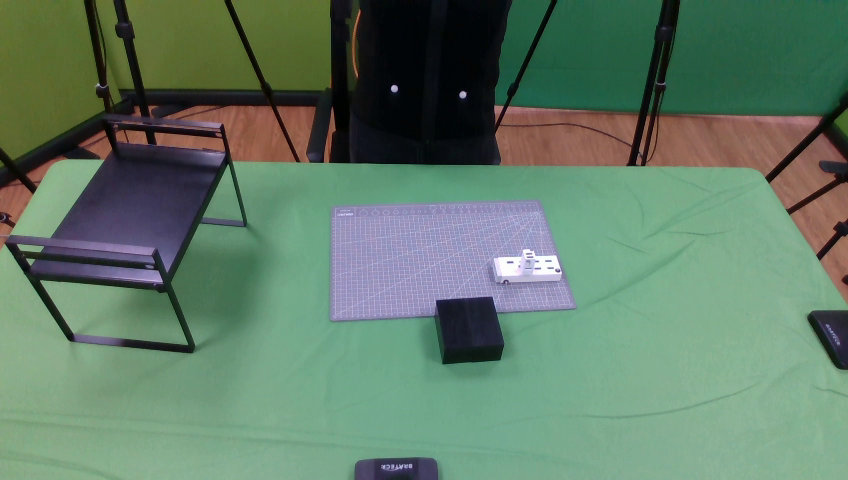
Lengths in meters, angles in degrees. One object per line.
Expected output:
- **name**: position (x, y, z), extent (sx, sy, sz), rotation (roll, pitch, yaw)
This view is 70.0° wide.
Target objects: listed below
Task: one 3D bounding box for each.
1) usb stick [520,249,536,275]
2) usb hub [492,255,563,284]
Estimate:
- **usb stick**: position (0.191, 0.046, 1.119), extent (0.021, 0.059, 0.027), rotation (-2, 47, -4)
- **usb hub**: position (0.196, 0.056, 1.150), extent (0.125, 0.025, 0.049), rotation (-3, 47, -6)
